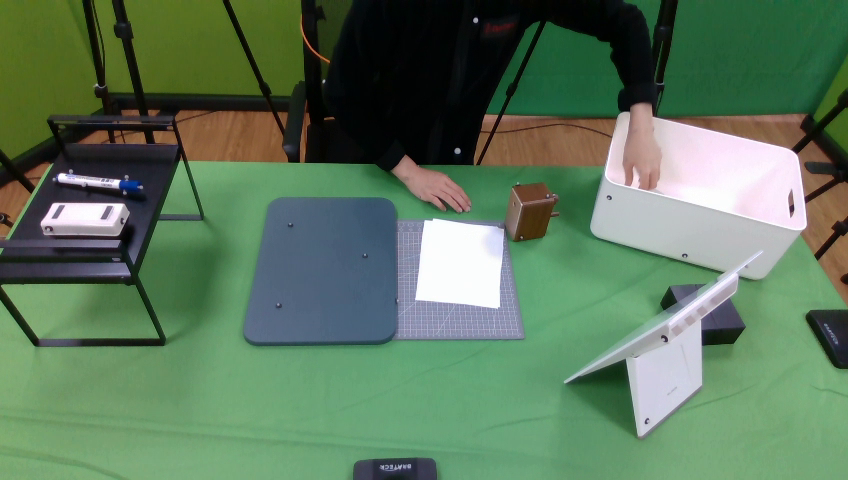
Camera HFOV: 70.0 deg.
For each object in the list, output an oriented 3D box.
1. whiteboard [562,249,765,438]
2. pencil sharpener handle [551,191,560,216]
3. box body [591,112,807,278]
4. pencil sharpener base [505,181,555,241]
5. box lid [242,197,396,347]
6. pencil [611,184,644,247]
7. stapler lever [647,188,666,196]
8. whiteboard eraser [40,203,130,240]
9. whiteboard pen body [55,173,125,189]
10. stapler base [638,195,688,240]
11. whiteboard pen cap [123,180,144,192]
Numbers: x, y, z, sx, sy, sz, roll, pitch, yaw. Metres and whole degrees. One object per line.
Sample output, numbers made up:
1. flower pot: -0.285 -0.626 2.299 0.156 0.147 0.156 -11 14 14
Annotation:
1. whiteboard: 0.386 0.175 0.905 0.217 0.306 0.143 -26 72 -26
2. pencil sharpener handle: 0.262 -0.074 1.213 0.031 0.068 0.035 -9 45 -13
3. box body: 0.540 -0.092 1.230 0.363 0.161 0.253 16 47 11
4. pencil sharpener base: 0.212 -0.058 1.210 0.077 0.107 0.061 -9 47 -13
5. box lid: -0.186 0.046 1.147 0.263 0.015 0.369 0 46 -3
6. pencil: 0.429 -0.057 1.286 0.012 0.012 0.192 -2 46 -7
7. stapler lever: 0.506 -0.073 1.262 0.027 0.040 0.117 -17 48 -15
8. whiteboard eraser: -0.513 -0.028 0.922 0.113 0.042 0.055 1 48 -3
9. whiteboard pen body: -0.539 -0.095 0.998 0.141 0.017 0.017 6 46 6
10. stapler base: 0.508 -0.055 1.280 0.041 0.024 0.129 -16 49 -15
11. whiteboard pen cap: -0.479 -0.089 0.993 0.033 0.018 0.018 7 46 14
